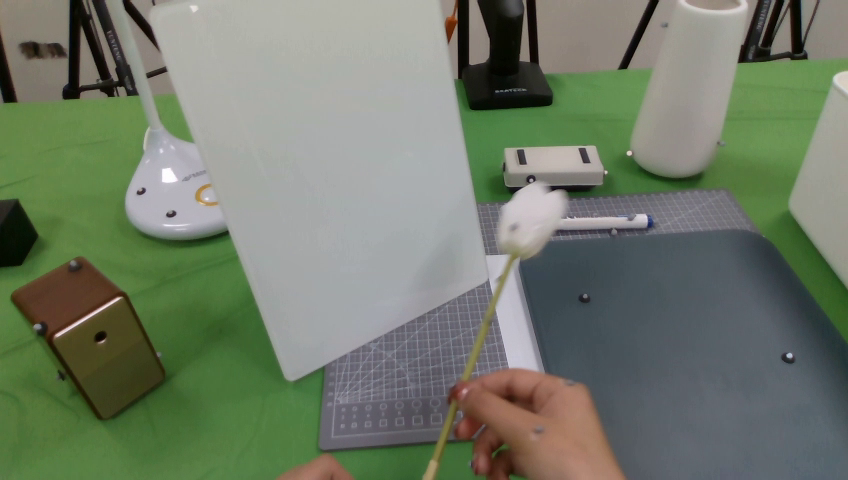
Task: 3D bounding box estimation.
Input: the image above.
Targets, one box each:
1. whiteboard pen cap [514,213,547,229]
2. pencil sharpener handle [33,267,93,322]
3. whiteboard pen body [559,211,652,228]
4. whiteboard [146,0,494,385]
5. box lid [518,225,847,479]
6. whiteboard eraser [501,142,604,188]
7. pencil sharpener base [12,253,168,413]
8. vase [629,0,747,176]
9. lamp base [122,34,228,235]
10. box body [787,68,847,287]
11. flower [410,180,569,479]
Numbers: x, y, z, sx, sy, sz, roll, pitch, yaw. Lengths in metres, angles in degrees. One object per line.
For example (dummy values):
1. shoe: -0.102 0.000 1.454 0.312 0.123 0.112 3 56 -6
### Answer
1. whiteboard pen cap: 0.114 -0.020 0.649 0.033 0.018 0.018 1 41 -1
2. pencil sharpener handle: -0.304 0.043 0.507 0.030 0.068 0.036 28 58 31
3. whiteboard pen body: 0.173 -0.021 0.649 0.141 0.017 0.017 -2 41 0
4. whiteboard: -0.087 -0.072 0.543 0.217 0.308 0.142 -24 27 -23
5. box lid: 0.234 0.116 0.495 0.263 0.015 0.367 -4 41 -2
6. whiteboard eraser: 0.149 -0.087 0.710 0.113 0.042 0.055 -3 39 0
7. pencil sharpener base: -0.267 0.075 0.489 0.076 0.108 0.061 28 50 30
8. vase: 0.298 -0.172 0.683 0.098 0.202 0.097 0 41 1
9. lamp base: -0.272 -0.122 0.658 0.177 0.182 0.160 25 48 30
10. box body: 0.516 0.006 0.500 0.254 0.162 0.360 -3 41 -1
11. flower: 0.020 0.103 0.395 0.044 0.038 0.360 7 57 36
